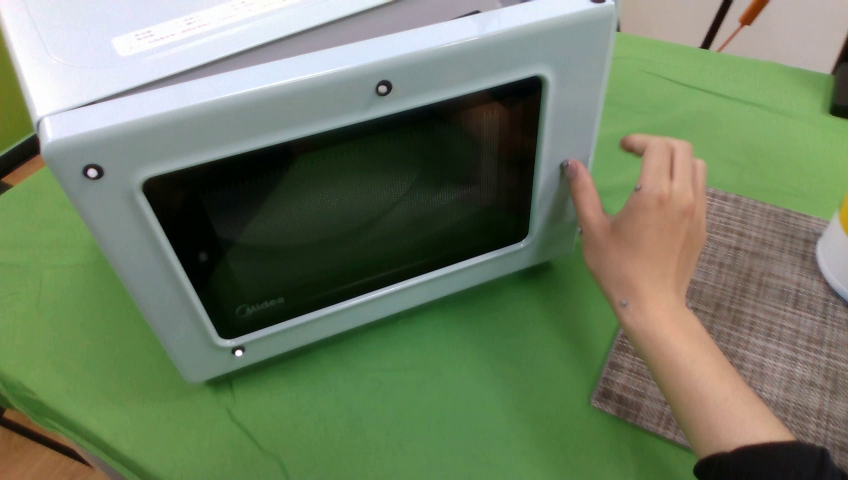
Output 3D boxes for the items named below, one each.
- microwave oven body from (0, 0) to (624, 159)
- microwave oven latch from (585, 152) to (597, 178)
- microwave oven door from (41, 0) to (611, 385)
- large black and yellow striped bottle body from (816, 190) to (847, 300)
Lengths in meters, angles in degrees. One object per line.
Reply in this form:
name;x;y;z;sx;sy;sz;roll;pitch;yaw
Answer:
microwave oven body;-0.096;-0.146;0.577;0.442;0.263;0.322;-27;51;-20
microwave oven latch;0.139;-0.069;0.621;0.079;0.030;0.030;-26;50;-19
microwave oven door;-0.037;-0.028;0.451;0.356;0.246;0.039;-18;47;-13
large black and yellow striped bottle body;0.417;-0.032;0.480;0.131;0.186;0.129;-2;46;2
